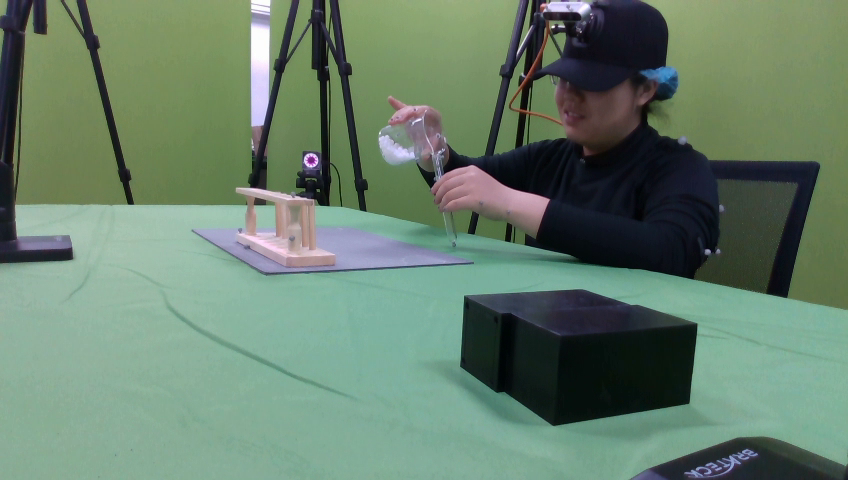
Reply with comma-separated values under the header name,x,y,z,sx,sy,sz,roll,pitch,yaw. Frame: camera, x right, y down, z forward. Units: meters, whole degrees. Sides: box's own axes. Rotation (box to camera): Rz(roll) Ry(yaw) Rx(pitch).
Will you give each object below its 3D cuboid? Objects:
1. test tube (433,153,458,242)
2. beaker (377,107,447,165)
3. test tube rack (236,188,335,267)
name,x,y,z,sx,sy,sz,roll,pitch,yaw
test tube,0.035,-0.070,0.992,0.017,0.150,0.017,-11,-4,0
beaker,-0.021,-0.170,1.026,0.100,0.084,0.074,-13,-12,30
test tube rack,-0.202,-0.024,0.855,0.067,0.085,0.241,-2,9,-31
